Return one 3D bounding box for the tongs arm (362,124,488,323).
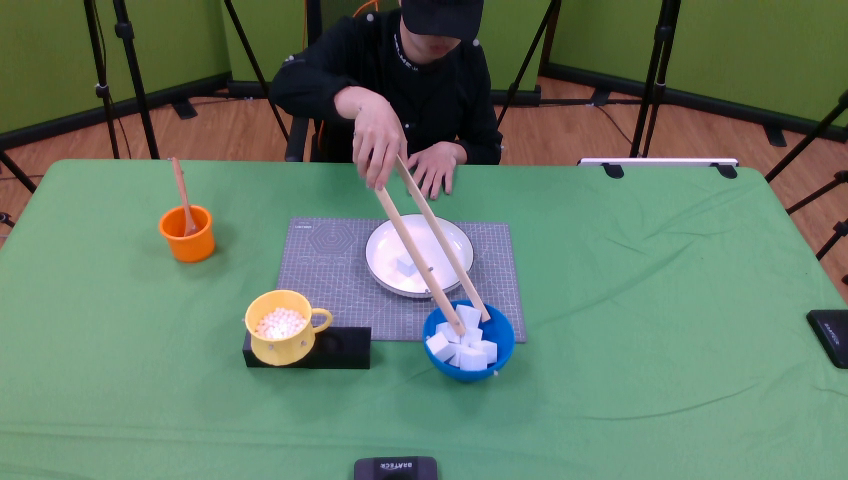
[{"bbox_3d":[0.003,-0.031,1.024,0.028,0.028,0.387,-26,83,-33],"label":"tongs arm"}]

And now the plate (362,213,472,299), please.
[{"bbox_3d":[-0.013,0.034,1.150,0.208,0.039,0.206,3,46,-2],"label":"plate"}]

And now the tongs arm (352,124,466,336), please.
[{"bbox_3d":[-0.022,-0.021,1.004,0.051,0.026,0.384,-27,84,-36],"label":"tongs arm"}]

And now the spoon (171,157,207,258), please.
[{"bbox_3d":[-0.444,-0.061,1.133,0.042,0.193,0.021,-12,4,-20],"label":"spoon"}]

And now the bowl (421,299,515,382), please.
[{"bbox_3d":[0.069,0.177,0.991,0.151,0.077,0.150,2,42,-2],"label":"bowl"}]

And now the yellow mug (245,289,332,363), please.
[{"bbox_3d":[-0.210,0.132,0.954,0.131,0.064,0.099,-9,48,-14],"label":"yellow mug"}]
